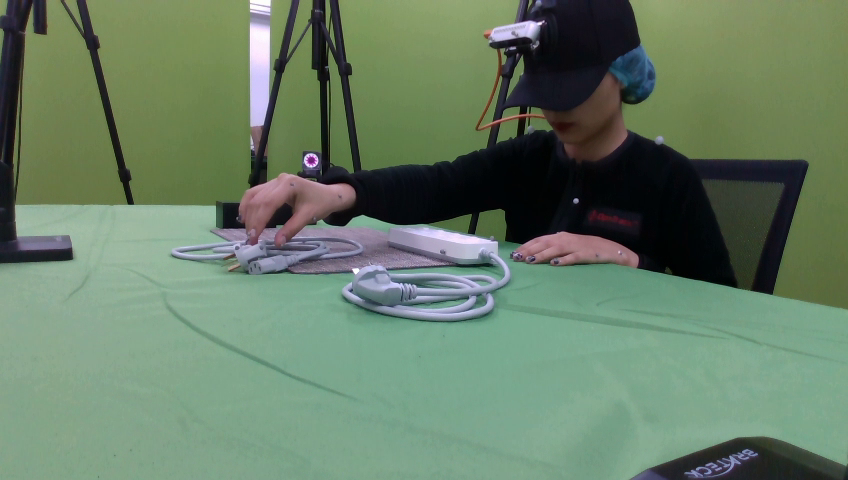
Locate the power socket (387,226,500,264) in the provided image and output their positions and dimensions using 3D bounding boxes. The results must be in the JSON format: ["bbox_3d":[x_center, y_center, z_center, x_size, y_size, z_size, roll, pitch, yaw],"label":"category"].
[{"bbox_3d":[0.022,0.004,0.912,0.072,0.032,0.225,-3,10,-34],"label":"power socket"}]

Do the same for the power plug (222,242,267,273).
[{"bbox_3d":[-0.216,0.025,0.738,0.053,0.035,0.072,-23,-6,-9],"label":"power plug"}]
